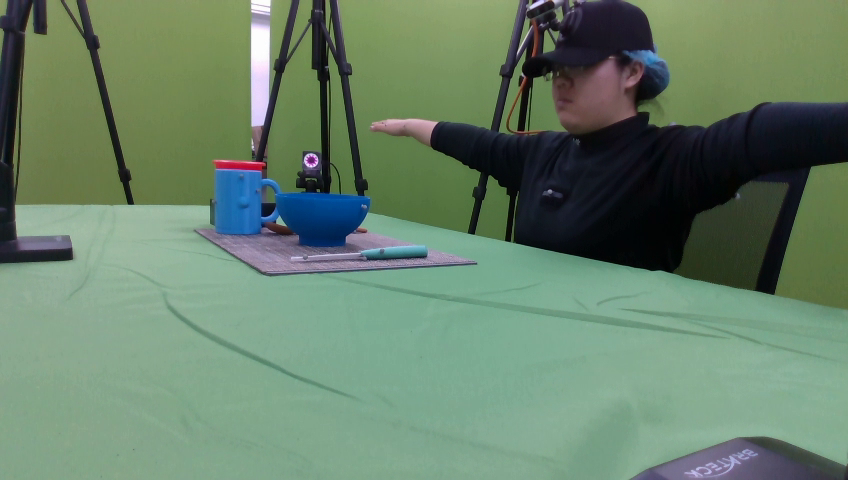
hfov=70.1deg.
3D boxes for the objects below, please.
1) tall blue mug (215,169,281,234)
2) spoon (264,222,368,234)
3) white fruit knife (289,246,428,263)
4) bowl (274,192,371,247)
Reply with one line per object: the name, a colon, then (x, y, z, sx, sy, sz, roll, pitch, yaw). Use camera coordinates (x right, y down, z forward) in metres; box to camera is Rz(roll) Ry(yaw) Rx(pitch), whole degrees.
tall blue mug: (-0.313, -0.069, 1.061, 0.077, 0.108, 0.108, 6, 8, 31)
spoon: (-0.191, -0.023, 1.090, 0.195, 0.021, 0.041, -2, -9, -29)
white fruit knife: (-0.082, 0.021, 0.822, 0.208, 0.016, 0.027, -3, -20, -30)
bowl: (-0.161, -0.033, 0.958, 0.151, 0.077, 0.151, 3, 8, 0)
